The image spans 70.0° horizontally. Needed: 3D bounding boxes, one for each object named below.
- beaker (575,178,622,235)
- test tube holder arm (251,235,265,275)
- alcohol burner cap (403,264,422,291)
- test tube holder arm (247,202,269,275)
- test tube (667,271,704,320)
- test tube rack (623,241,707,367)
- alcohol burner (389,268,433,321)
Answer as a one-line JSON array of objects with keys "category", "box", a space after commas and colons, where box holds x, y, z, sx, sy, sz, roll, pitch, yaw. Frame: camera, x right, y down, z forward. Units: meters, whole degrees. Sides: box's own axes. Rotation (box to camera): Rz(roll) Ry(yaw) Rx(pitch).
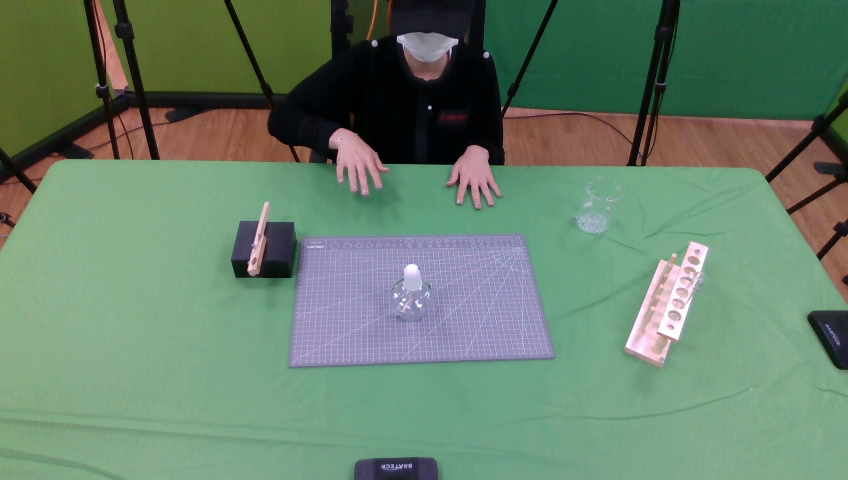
[{"category": "beaker", "box": [0.356, -0.068, 1.239, 0.084, 0.101, 0.073, -18, 50, -21]}, {"category": "test tube holder arm", "box": [-0.297, 0.025, 1.085, 0.010, 0.015, 0.087, -5, 46, 2]}, {"category": "alcohol burner cap", "box": [-0.021, 0.060, 1.021, 0.034, 0.048, 0.033, -2, 47, 2]}, {"category": "test tube holder arm", "box": [-0.304, -0.006, 1.116, 0.013, 0.015, 0.177, -6, 46, 2]}, {"category": "test tube", "box": [0.432, 0.104, 1.019, 0.017, 0.151, 0.017, 3, 48, -3]}, {"category": "test tube rack", "box": [0.435, 0.104, 1.089, 0.066, 0.085, 0.242, 24, 49, 19]}, {"category": "alcohol burner", "box": [-0.023, 0.085, 1.046, 0.078, 0.119, 0.077, 2, 48, -2]}]
